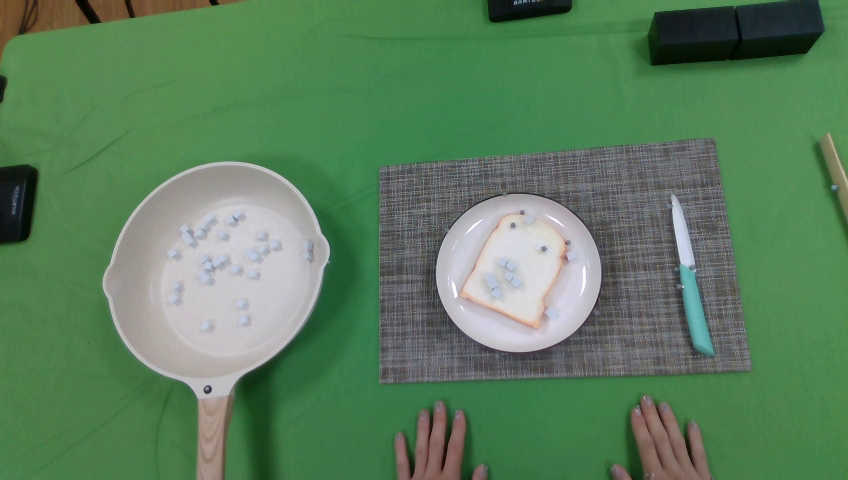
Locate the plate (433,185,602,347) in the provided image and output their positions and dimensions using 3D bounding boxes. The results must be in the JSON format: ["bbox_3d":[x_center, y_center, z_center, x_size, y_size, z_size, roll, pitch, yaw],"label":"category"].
[{"bbox_3d":[0.117,0.033,0.768,0.207,0.039,0.206,-2,75,8],"label":"plate"}]

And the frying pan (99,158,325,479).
[{"bbox_3d":[-0.263,0.130,0.765,0.306,0.103,0.484,-8,66,7],"label":"frying pan"}]

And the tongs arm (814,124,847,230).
[{"bbox_3d":[0.539,0.038,0.714,0.028,0.028,0.385,-13,74,2],"label":"tongs arm"}]

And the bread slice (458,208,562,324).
[{"bbox_3d":[0.114,0.026,0.772,0.106,0.018,0.134,20,80,12],"label":"bread slice"}]

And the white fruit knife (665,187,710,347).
[{"bbox_3d":[0.322,0.030,0.752,0.027,0.016,0.206,2,71,-21],"label":"white fruit knife"}]
